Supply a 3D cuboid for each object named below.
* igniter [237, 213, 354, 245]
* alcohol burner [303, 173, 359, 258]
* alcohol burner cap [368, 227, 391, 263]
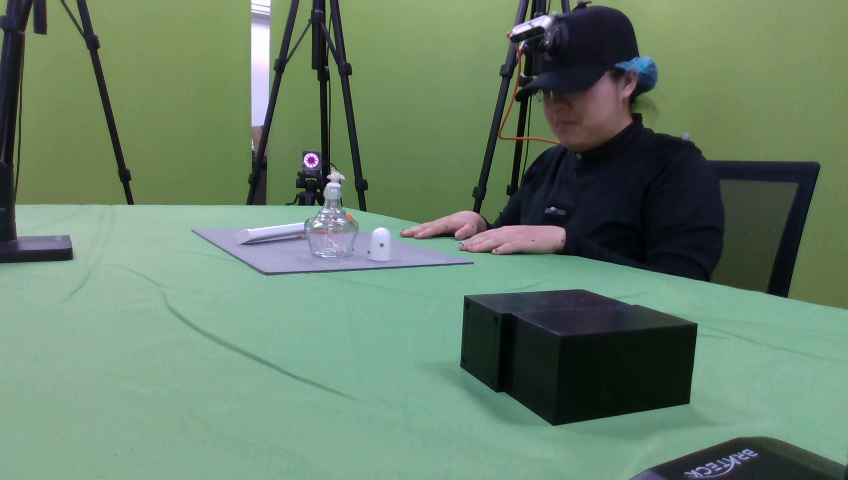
[{"bbox_3d":[-0.206,-0.021,1.034,0.057,0.025,0.278,-19,-2,30],"label":"igniter"},{"bbox_3d":[-0.130,-0.035,0.850,0.078,0.119,0.078,2,5,0],"label":"alcohol burner"},{"bbox_3d":[-0.060,0.006,0.837,0.034,0.048,0.034,2,7,0],"label":"alcohol burner cap"}]
